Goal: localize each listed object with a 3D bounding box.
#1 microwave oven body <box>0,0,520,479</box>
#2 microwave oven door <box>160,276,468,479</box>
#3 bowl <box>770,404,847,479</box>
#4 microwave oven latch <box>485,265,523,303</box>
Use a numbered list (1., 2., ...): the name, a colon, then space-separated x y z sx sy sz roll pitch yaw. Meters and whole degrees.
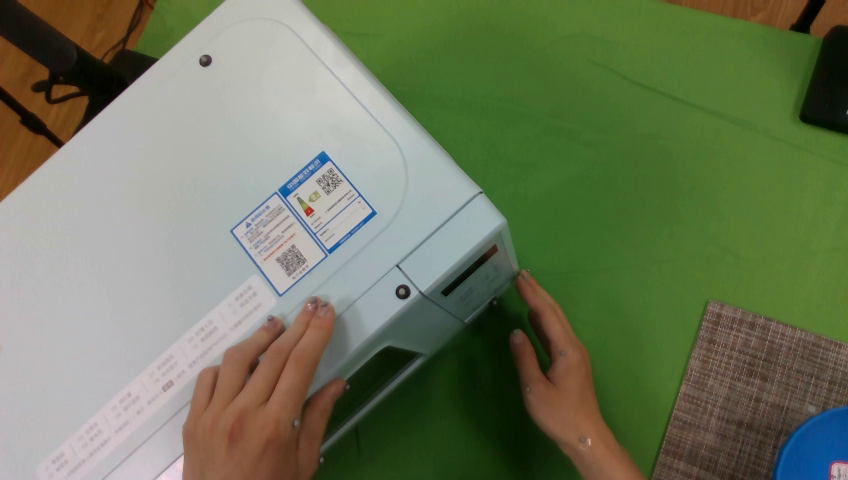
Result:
1. microwave oven body: -0.181 0.038 0.576 0.441 0.262 0.324 -42 74 1
2. microwave oven door: -0.120 0.169 0.530 0.356 0.245 0.039 -42 72 0
3. bowl: 0.370 0.216 0.522 0.151 0.077 0.150 -3 77 11
4. microwave oven latch: 0.065 0.046 0.626 0.079 0.030 0.030 -37 74 2
